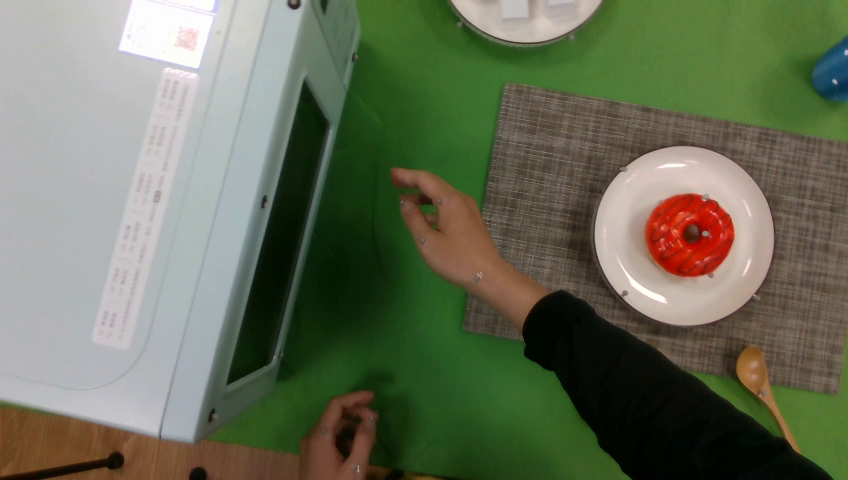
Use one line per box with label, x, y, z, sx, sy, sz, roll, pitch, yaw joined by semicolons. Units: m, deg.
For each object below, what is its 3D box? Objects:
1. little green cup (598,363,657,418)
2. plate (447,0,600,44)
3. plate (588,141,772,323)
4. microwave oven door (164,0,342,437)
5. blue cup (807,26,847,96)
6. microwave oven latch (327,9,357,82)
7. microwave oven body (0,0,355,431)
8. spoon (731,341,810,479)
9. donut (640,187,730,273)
little green cup;0.231;0.170;0.695;0.061;0.038;0.061;0;85;-1
plate;0.115;-0.331;0.718;0.208;0.039;0.207;0;87;-1
plate;0.291;-0.010;0.701;0.209;0.038;0.209;0;87;0
microwave oven door;-0.149;-0.016;0.579;0.039;0.244;0.355;13;87;0
blue cup;0.494;-0.206;0.686;0.093;0.100;0.092;0;88;-1
microwave oven latch;-0.098;-0.224;0.691;0.030;0.029;0.079;15;88;0
microwave oven body;-0.281;-0.090;0.586;0.326;0.260;0.441;13;88;0
spoon;0.406;0.205;0.702;0.041;0.021;0.193;-27;89;-18
donut;0.296;-0.011;0.690;0.099;0.048;0.099;0;88;2
